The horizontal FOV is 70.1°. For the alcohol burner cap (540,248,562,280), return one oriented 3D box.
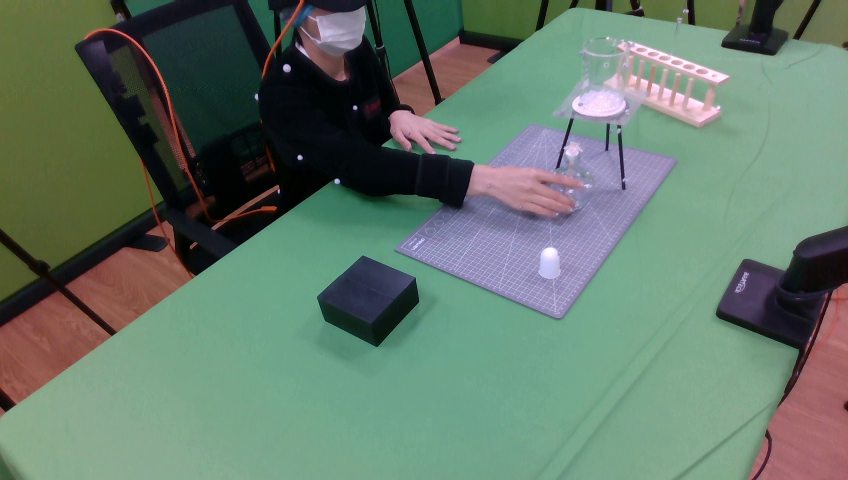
[{"bbox_3d":[0.187,0.032,0.888,0.034,0.048,0.033,-4,40,4],"label":"alcohol burner cap"}]

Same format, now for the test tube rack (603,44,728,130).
[{"bbox_3d":[0.480,-0.316,1.227,0.067,0.085,0.240,-28,44,-22],"label":"test tube rack"}]

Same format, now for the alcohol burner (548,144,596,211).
[{"bbox_3d":[0.243,-0.107,0.989,0.078,0.119,0.077,-4,41,4],"label":"alcohol burner"}]

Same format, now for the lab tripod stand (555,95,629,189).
[{"bbox_3d":[0.301,-0.174,1.045,0.148,0.132,0.147,-5,38,5],"label":"lab tripod stand"}]

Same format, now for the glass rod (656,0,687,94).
[{"bbox_3d":[0.491,-0.381,1.199,0.008,0.200,0.008,1,41,0],"label":"glass rod"}]

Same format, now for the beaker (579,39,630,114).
[{"bbox_3d":[0.289,-0.264,0.975,0.073,0.101,0.084,17,45,27],"label":"beaker"}]

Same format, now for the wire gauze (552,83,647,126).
[{"bbox_3d":[0.293,-0.224,1.004,0.120,0.011,0.125,19,43,26],"label":"wire gauze"}]
